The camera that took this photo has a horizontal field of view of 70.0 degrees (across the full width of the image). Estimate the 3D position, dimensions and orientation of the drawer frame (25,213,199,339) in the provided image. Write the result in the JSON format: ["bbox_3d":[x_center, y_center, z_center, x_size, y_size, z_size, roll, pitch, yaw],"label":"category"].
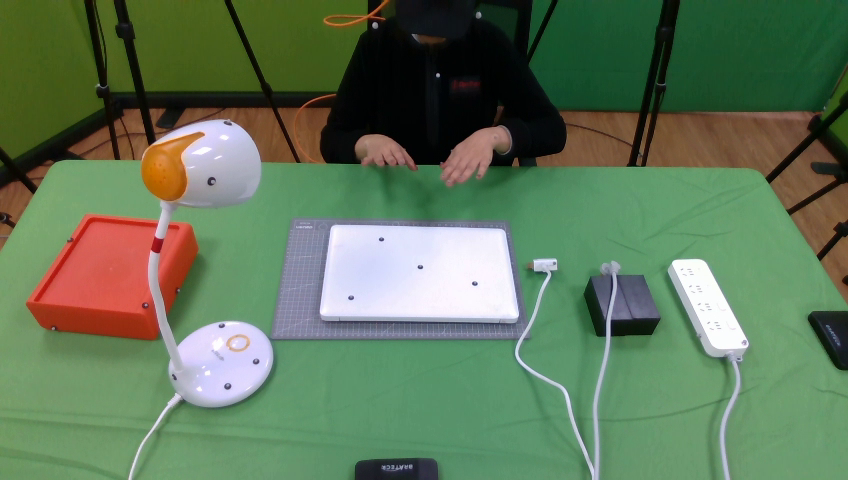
[{"bbox_3d":[-0.532,0.058,1.061,0.202,0.083,0.212,5,46,0],"label":"drawer frame"}]

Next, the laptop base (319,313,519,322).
[{"bbox_3d":[-0.009,0.062,1.137,0.354,0.023,0.234,1,42,-3],"label":"laptop base"}]

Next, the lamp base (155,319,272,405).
[{"bbox_3d":[-0.330,0.149,0.918,0.160,0.181,0.179,26,52,20],"label":"lamp base"}]

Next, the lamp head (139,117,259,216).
[{"bbox_3d":[-0.281,-0.086,0.734,0.112,0.113,0.123,21,25,16],"label":"lamp head"}]

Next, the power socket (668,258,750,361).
[{"bbox_3d":[0.517,0.118,1.109,0.072,0.033,0.225,-2,46,-4],"label":"power socket"}]

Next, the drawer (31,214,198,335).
[{"bbox_3d":[-0.532,0.056,1.064,0.194,0.073,0.210,6,46,1],"label":"drawer"}]

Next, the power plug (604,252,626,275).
[{"bbox_3d":[0.366,0.039,1.129,0.035,0.072,0.052,40,57,-10],"label":"power plug"}]

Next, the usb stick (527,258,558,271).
[{"bbox_3d":[0.226,0.047,1.158,0.059,0.021,0.027,-3,8,10],"label":"usb stick"}]

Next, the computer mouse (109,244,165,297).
[{"bbox_3d":[-0.516,0.052,1.088,0.063,0.041,0.116,4,47,3],"label":"computer mouse"}]

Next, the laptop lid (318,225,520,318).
[{"bbox_3d":[-0.009,0.052,1.131,0.357,0.013,0.240,2,43,-2],"label":"laptop lid"}]
